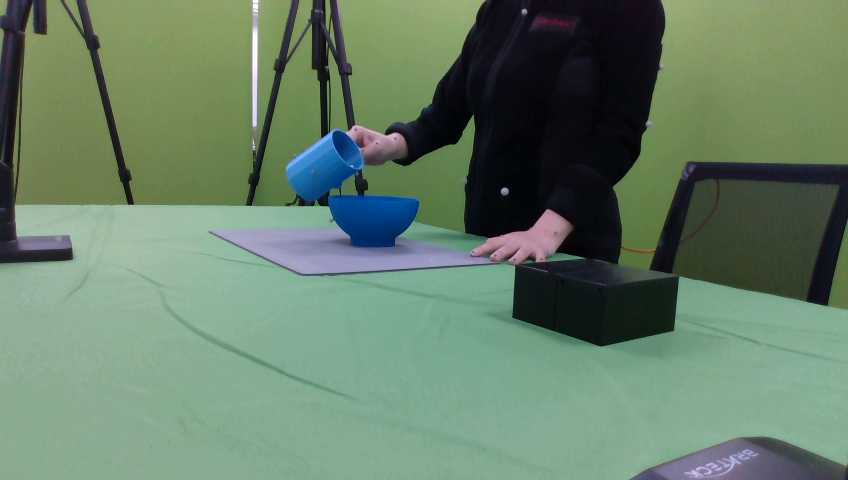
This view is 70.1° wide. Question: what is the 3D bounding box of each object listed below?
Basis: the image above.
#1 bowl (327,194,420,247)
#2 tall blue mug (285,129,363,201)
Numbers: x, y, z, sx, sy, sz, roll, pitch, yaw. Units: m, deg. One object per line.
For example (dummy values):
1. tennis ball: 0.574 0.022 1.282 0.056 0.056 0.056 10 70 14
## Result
1. bowl: -0.083 -0.032 0.988 0.151 0.077 0.151 2 7 0
2. tall blue mug: -0.165 -0.134 1.019 0.107 0.078 0.107 -32 32 26
